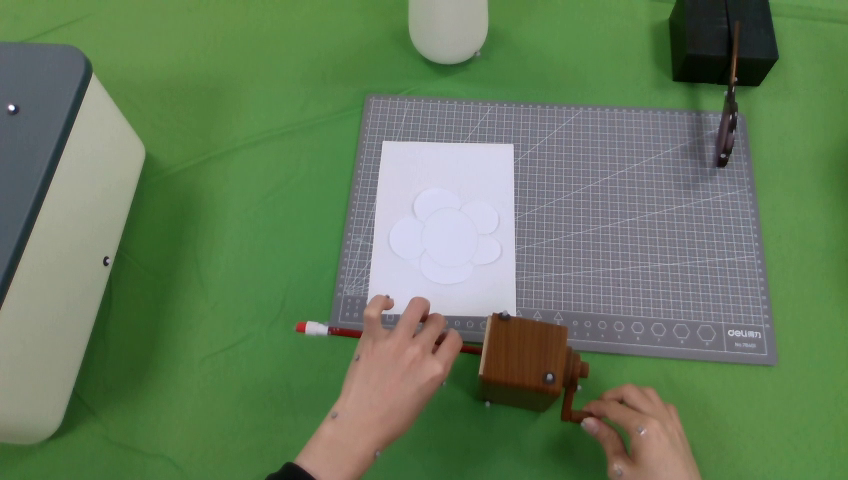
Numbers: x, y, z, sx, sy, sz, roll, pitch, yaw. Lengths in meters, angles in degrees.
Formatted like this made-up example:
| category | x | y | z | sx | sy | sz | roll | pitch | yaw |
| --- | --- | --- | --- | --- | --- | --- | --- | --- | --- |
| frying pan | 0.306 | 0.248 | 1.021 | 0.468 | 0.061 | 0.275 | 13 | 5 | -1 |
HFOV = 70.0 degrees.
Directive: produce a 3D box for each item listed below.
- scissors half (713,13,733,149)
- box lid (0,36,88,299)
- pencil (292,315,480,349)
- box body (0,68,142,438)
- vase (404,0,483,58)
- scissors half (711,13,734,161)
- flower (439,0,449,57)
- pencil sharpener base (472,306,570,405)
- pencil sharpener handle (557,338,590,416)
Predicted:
| category | x | y | z | sx | sy | sz | roll | pitch | yaw |
| --- | --- | --- | --- | --- | --- | --- | --- | --- | --- |
| scissors half | 0.332 | -0.179 | 0.662 | 0.013 | 0.040 | 0.174 | 9 | 68 | 15 |
| box lid | -0.464 | -0.033 | 0.522 | 0.263 | 0.015 | 0.369 | 4 | 67 | 3 |
| pencil | -0.020 | 0.084 | 0.536 | 0.194 | 0.012 | 0.012 | 8 | 67 | 2 |
| box body | -0.461 | -0.001 | 0.590 | 0.254 | 0.161 | 0.361 | 4 | 67 | 4 |
| vase | 0.020 | -0.300 | 0.679 | 0.098 | 0.201 | 0.097 | -1 | 66 | 3 |
| scissors half | 0.338 | -0.173 | 0.681 | 0.012 | 0.040 | 0.175 | 8 | 86 | 20 |
| flower | 0.010 | -0.345 | 0.608 | 0.044 | 0.365 | 0.038 | -3 | 49 | 5 |
| pencil sharpener base | 0.087 | 0.109 | 0.556 | 0.076 | 0.108 | 0.061 | 9 | 67 | 6 |
| pencil sharpener handle | 0.134 | 0.121 | 0.529 | 0.030 | 0.036 | 0.068 | 9 | 103 | 6 |
